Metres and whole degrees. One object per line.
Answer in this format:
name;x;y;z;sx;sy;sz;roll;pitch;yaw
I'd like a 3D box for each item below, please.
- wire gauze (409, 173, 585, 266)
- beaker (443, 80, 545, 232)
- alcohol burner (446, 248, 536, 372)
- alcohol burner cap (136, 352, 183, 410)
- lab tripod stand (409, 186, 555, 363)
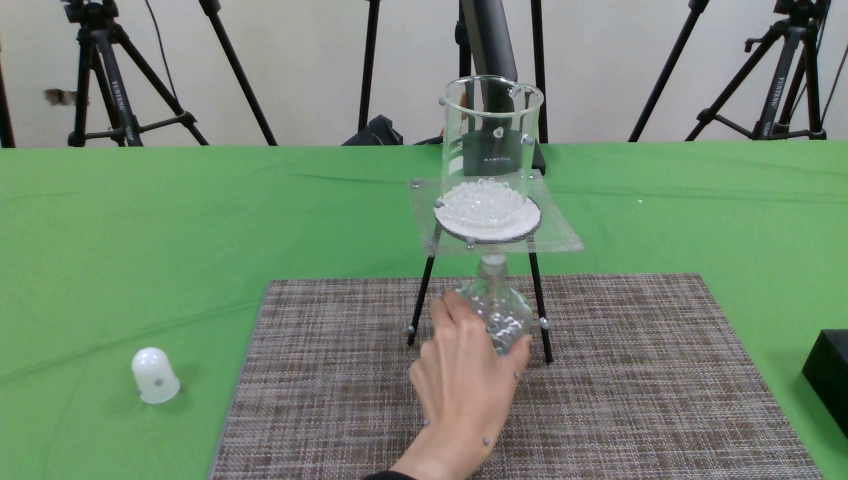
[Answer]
wire gauze;0.054;-0.020;0.495;0.125;0.011;0.120;-1;37;-8
beaker;0.052;-0.065;0.473;0.073;0.101;0.084;21;40;25
alcohol burner;0.058;0.053;0.513;0.078;0.120;0.077;2;35;-1
alcohol burner cap;-0.224;0.115;0.507;0.034;0.048;0.033;0;36;0
lab tripod stand;0.059;0.031;0.536;0.148;0.132;0.147;1;35;0
